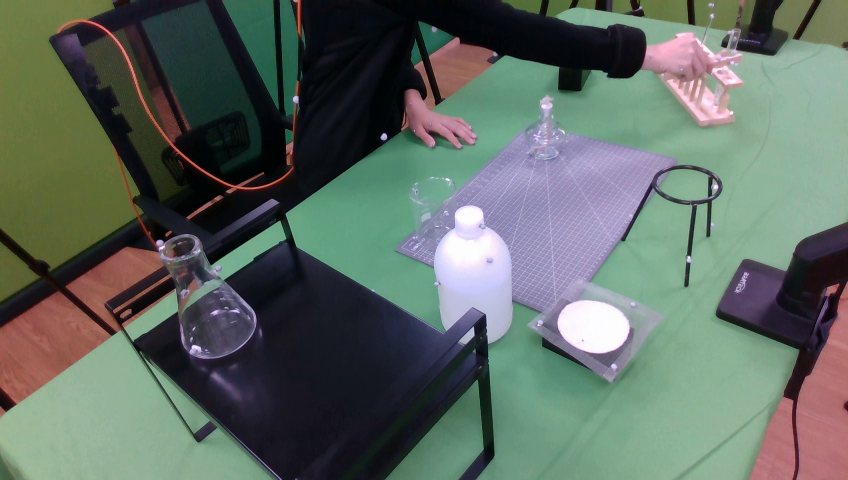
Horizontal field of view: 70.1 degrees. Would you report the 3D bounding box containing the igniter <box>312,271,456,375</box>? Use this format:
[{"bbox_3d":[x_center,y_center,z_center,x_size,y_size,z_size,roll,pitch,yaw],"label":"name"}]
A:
[{"bbox_3d":[-0.068,0.111,0.859,0.274,0.025,0.057,27,61,34],"label":"igniter"}]

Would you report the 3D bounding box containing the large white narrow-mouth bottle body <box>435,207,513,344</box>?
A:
[{"bbox_3d":[0.065,0.041,0.791,0.102,0.195,0.101,-4,41,4],"label":"large white narrow-mouth bottle body"}]

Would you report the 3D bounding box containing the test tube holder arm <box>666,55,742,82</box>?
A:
[{"bbox_3d":[0.506,-0.309,1.089,0.179,0.015,0.013,-19,34,-22],"label":"test tube holder arm"}]

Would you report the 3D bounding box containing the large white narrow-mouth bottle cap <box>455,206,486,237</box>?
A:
[{"bbox_3d":[0.057,-0.023,0.734,0.038,0.024,0.037,-4,40,4],"label":"large white narrow-mouth bottle cap"}]

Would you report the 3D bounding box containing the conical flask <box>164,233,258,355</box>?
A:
[{"bbox_3d":[-0.216,0.051,0.601,0.075,0.122,0.075,-4,40,4],"label":"conical flask"}]

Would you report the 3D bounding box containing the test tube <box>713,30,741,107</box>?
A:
[{"bbox_3d":[0.573,-0.322,1.144,0.017,0.151,0.017,-2,39,2],"label":"test tube"}]

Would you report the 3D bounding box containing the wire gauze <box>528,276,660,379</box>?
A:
[{"bbox_3d":[0.214,0.103,0.763,0.124,0.011,0.122,30,53,35],"label":"wire gauze"}]

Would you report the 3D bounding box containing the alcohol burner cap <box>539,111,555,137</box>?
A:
[{"bbox_3d":[0.243,-0.232,1.197,0.034,0.048,0.033,-5,39,4],"label":"alcohol burner cap"}]

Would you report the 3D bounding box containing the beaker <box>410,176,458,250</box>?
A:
[{"bbox_3d":[0.022,-0.041,0.963,0.073,0.101,0.084,28,51,35],"label":"beaker"}]

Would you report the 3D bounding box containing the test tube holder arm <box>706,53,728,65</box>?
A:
[{"bbox_3d":[0.539,-0.327,1.113,0.010,0.015,0.088,23,42,36],"label":"test tube holder arm"}]

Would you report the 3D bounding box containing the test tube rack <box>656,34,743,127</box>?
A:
[{"bbox_3d":[0.553,-0.330,1.233,0.067,0.085,0.241,-7,40,2],"label":"test tube rack"}]

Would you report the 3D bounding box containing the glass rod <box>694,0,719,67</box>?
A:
[{"bbox_3d":[0.561,-0.401,1.214,0.008,0.200,0.008,-1,49,2],"label":"glass rod"}]

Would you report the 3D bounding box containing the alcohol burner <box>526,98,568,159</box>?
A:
[{"bbox_3d":[0.228,-0.210,1.118,0.078,0.119,0.077,-5,43,5],"label":"alcohol burner"}]

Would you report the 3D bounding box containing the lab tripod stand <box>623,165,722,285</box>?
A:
[{"bbox_3d":[0.365,-0.030,0.874,0.148,0.132,0.147,-6,41,6],"label":"lab tripod stand"}]
